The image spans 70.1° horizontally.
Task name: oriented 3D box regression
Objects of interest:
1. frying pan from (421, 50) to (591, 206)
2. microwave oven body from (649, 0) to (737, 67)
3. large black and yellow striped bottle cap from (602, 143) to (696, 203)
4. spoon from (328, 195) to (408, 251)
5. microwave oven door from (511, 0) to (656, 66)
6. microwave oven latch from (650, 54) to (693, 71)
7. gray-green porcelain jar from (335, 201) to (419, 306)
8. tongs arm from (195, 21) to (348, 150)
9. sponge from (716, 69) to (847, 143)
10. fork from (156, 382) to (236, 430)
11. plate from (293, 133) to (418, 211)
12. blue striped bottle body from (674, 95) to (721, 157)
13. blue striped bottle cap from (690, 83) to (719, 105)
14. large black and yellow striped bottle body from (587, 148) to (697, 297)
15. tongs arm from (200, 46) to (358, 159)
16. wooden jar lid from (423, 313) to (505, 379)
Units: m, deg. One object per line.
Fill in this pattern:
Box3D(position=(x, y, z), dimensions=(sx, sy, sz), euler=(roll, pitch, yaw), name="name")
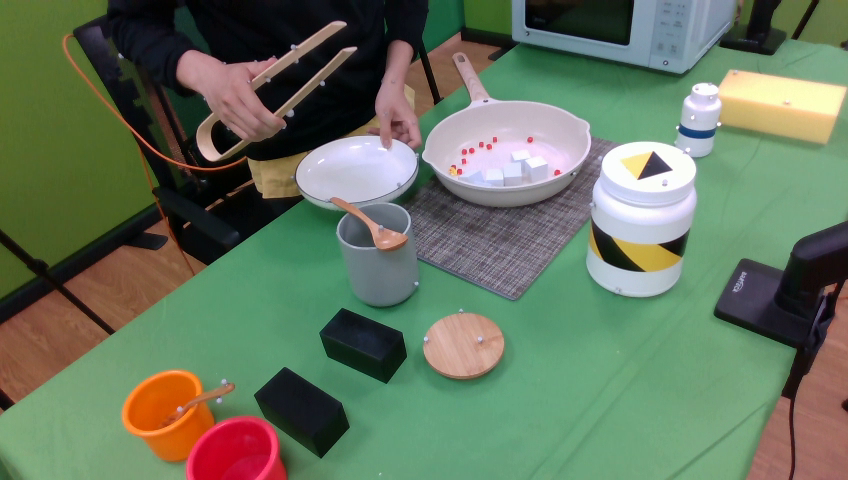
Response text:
Box3D(position=(0.127, -0.233, 1.155), dimensions=(0.307, 0.103, 0.484), euler=(-11, 49, -5), name="frying pan")
Box3D(position=(0.475, -0.602, 1.411), dimensions=(0.438, 0.261, 0.327), euler=(23, 50, 32), name="microwave oven body")
Box3D(position=(0.289, -0.088, 0.779), dimensions=(0.115, 0.019, 0.114), euler=(-5, 39, 4), name="large black and yellow striped bottle cap")
Box3D(position=(-0.083, -0.029, 0.829), dimensions=(0.042, 0.022, 0.192), euler=(-32, 43, -21), name="spoon")
Box3D(position=(0.350, -0.539, 1.349), dimensions=(0.353, 0.245, 0.039), euler=(24, 50, 31), name="microwave oven door")
Box3D(position=(0.531, -0.386, 1.301), dimensions=(0.078, 0.029, 0.030), euler=(26, 51, 33), name="microwave oven latch")
Box3D(position=(-0.064, 0.024, 0.872), dimensions=(0.106, 0.127, 0.105), euler=(-4, 41, 4), name="gray-green porcelain jar")
Box3D(position=(-0.225, -0.201, 0.839), dimensions=(0.382, 0.051, 0.026), euler=(-13, 14, 43), name="tongs arm")
Box3D(position=(0.663, -0.256, 1.142), dimensions=(0.205, 0.061, 0.118), euler=(19, 47, 28), name="sponge")
Box3D(position=(-0.262, 0.189, 0.690), dimensions=(0.018, 0.206, 0.028), euler=(49, 43, -7), name="fork")
Box3D(position=(-0.112, -0.111, 1.014), dimensions=(0.208, 0.039, 0.206), euler=(-3, 40, 3), name="plate")
Box3D(position=(0.486, -0.213, 1.071), dimensions=(0.063, 0.121, 0.063), euler=(-4, 41, 4), name="blue striped bottle body")
Box3D(position=(0.481, -0.251, 1.038), dimensions=(0.044, 0.021, 0.044), euler=(-5, 40, 5), name="blue striped bottle cap")
Box3D(position=(0.298, -0.026, 0.835), dimensions=(0.131, 0.185, 0.130), euler=(-4, 41, 4), name="large black and yellow striped bottle body")
Box3D(position=(-0.215, -0.181, 0.842), dimensions=(0.385, 0.028, 0.028), euler=(-19, 13, 44), name="tongs arm")
Box3D(position=(0.053, 0.142, 0.800), dimensions=(0.108, 0.021, 0.108), euler=(-5, 39, 4), name="wooden jar lid")
